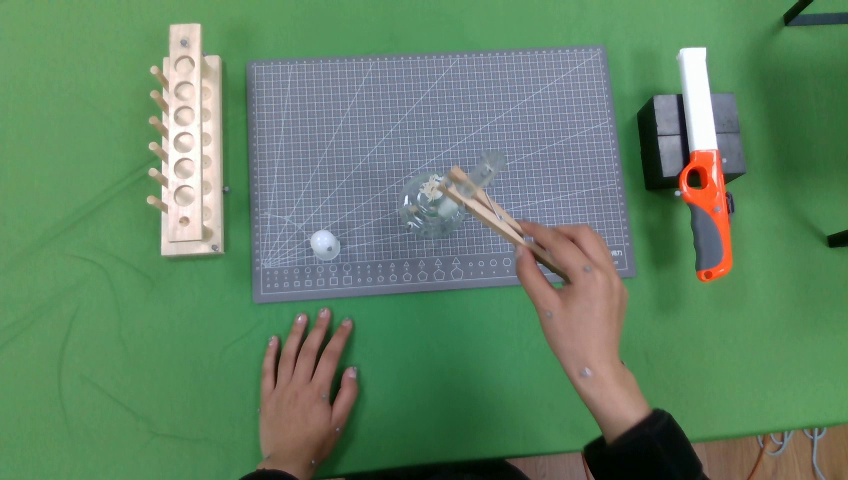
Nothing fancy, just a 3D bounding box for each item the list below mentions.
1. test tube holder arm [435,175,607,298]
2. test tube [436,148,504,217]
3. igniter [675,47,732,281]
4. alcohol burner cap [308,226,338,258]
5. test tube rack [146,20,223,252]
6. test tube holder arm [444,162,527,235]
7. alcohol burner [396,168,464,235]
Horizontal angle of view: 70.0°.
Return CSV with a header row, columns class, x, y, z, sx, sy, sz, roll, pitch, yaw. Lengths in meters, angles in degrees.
class,x,y,z,sx,sy,sz,roll,pitch,yaw
test tube holder arm,0.085,-0.001,0.524,0.179,0.015,0.013,35,73,-8
test tube,0.035,-0.044,0.511,0.017,0.150,0.017,3,77,-13
igniter,0.316,-0.091,0.693,0.057,0.025,0.275,-1,79,3
alcohol burner cap,-0.116,0.000,0.688,0.034,0.048,0.033,1,78,-3
test tube rack,-0.272,-0.113,0.680,0.067,0.085,0.241,-3,80,-3
test tube holder arm,0.053,-0.033,0.520,0.088,0.015,0.010,43,72,-5
alcohol burner,0.008,-0.046,0.668,0.078,0.119,0.077,0,81,-2
